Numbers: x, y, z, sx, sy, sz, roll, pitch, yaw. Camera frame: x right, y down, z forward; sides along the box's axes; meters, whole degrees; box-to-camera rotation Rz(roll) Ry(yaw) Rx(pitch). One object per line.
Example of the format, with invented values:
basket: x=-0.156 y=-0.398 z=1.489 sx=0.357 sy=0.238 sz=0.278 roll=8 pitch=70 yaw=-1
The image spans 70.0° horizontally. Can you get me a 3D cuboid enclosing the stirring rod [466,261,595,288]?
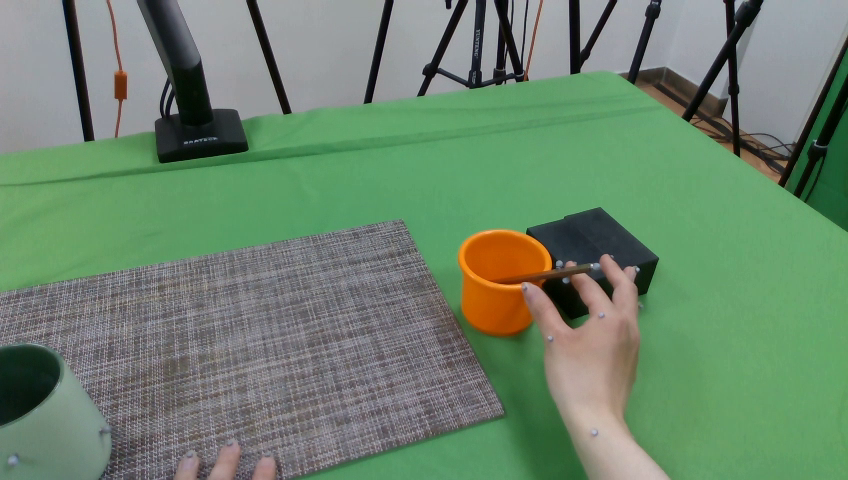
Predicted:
stirring rod: x=0.093 y=0.034 z=0.571 sx=0.014 sy=0.006 sz=0.175 roll=-24 pitch=4 yaw=-32

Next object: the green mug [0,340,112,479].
green mug: x=-0.303 y=0.142 z=0.435 sx=0.125 sy=0.106 sz=0.091 roll=-19 pitch=44 yaw=-24
